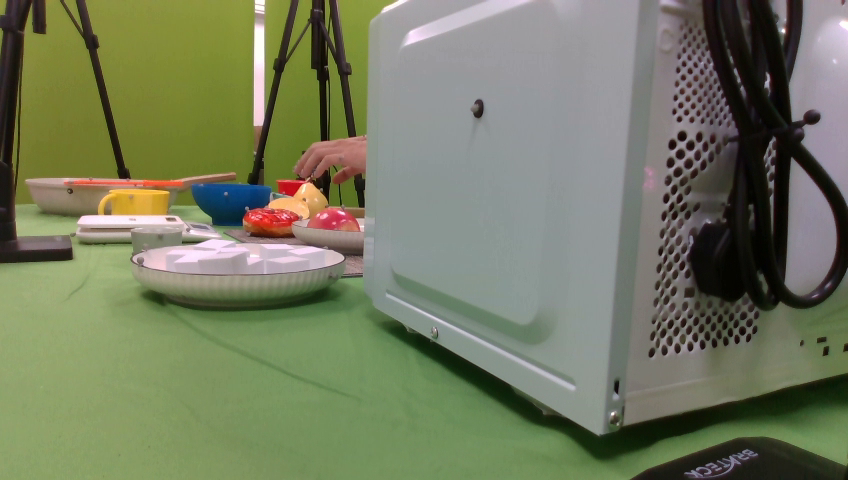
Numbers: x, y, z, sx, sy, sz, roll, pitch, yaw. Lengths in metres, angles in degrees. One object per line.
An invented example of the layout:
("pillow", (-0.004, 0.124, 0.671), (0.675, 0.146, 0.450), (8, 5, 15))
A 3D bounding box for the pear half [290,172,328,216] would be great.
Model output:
("pear half", (-0.228, -0.078, 1.183), (0.076, 0.110, 0.056), (-2, 8, 2))

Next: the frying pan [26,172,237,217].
("frying pan", (-0.624, -0.118, 1.387), (0.305, 0.102, 0.490), (8, 17, 32))

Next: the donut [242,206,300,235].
("donut", (-0.262, -0.032, 1.039), (0.099, 0.048, 0.099), (4, 10, 0))

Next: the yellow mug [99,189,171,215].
("yellow mug", (-0.518, -0.055, 1.080), (0.099, 0.064, 0.131), (6, 9, 26))

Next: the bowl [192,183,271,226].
("bowl", (-0.382, -0.071, 1.202), (0.151, 0.077, 0.151), (3, 7, 0))

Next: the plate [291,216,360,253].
("plate", (-0.103, -0.010, 0.945), (0.209, 0.038, 0.209), (2, 8, 0))

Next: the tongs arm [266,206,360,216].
("tongs arm", (-0.173, -0.061, 1.362), (0.387, 0.026, 0.050), (-1, 3, -31))

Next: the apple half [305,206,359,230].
("apple half", (-0.137, -0.024, 0.913), (0.081, 0.053, 0.074), (1, 8, -37))

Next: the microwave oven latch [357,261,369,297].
("microwave oven latch", (-0.019, 0.033, 0.530), (0.079, 0.029, 0.030), (-1, 7, -27))

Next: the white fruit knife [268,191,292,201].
("white fruit knife", (-0.364, -0.105, 1.464), (0.208, 0.027, 0.016), (15, -1, -34))

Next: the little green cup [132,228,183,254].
("little green cup", (-0.342, 0.006, 0.779), (0.061, 0.038, 0.061), (2, 8, 0))

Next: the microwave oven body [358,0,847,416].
("microwave oven body", (0.211, -0.047, 0.474), (0.444, 0.260, 0.324), (-1, 7, -28))

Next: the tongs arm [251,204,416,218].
("tongs arm", (-0.210, -0.068, 1.440), (0.389, 0.027, 0.028), (0, -1, -17))

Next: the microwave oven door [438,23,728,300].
("microwave oven door", (0.181, -0.073, 0.621), (0.358, 0.243, 0.039), (-2, 8, -29))

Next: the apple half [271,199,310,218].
("apple half", (-0.254, -0.039, 1.142), (0.081, 0.032, 0.081), (17, 45, -17))

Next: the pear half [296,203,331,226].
("pear half", (-0.229, -0.049, 1.258), (0.070, 0.031, 0.088), (0, 23, -3))

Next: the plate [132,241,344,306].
("plate", (-0.187, 0.033, 0.625), (0.208, 0.039, 0.207), (2, 8, 0))

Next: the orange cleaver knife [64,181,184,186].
("orange cleaver knife", (-0.595, -0.114, 1.212), (0.212, 0.012, 0.077), (-4, 7, -41))

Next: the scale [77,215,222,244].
("scale", (-0.434, -0.019, 0.963), (0.202, 0.031, 0.148), (-1, 9, -27))

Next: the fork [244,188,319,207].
("fork", (-0.356, -0.105, 1.526), (0.208, 0.018, 0.028), (16, -5, -41))

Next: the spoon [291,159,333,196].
("spoon", (-0.316, -0.159, 1.640), (0.194, 0.022, 0.041), (-50, 32, -20))
